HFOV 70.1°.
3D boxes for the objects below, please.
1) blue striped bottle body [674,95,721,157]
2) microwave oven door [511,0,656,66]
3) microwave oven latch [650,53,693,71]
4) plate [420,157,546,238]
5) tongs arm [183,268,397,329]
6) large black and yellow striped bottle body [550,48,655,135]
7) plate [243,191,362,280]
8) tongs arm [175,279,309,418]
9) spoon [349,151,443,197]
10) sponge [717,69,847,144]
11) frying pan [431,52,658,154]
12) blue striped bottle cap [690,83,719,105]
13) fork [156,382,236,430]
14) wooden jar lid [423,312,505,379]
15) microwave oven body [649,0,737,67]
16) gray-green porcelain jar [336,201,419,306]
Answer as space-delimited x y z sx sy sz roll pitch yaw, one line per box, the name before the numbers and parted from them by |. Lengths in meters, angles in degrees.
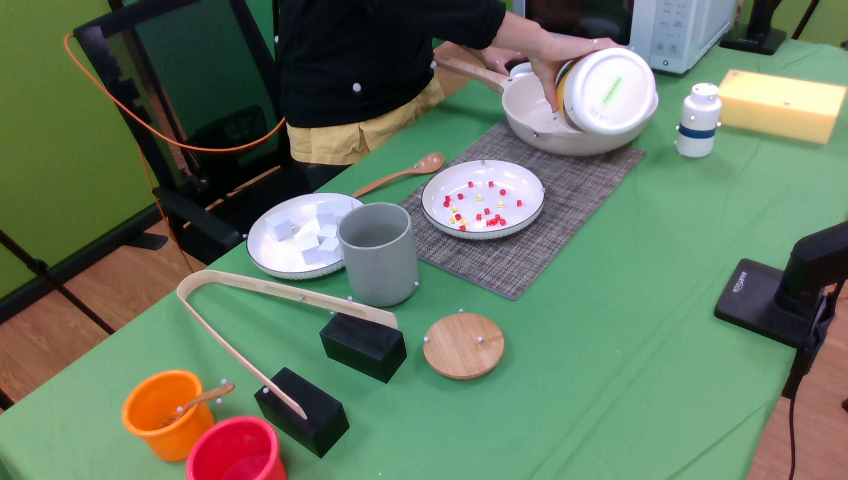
blue striped bottle body | 0.486 -0.213 1.072 0.063 0.121 0.063 -4 41 4
microwave oven door | 0.350 -0.539 1.349 0.353 0.245 0.039 24 50 31
microwave oven latch | 0.531 -0.386 1.301 0.078 0.029 0.030 26 51 33
plate | 0.099 -0.067 1.017 0.209 0.038 0.208 -4 40 4
tongs arm | -0.203 0.084 0.847 0.382 0.027 0.051 11 44 34
large black and yellow striped bottle body | 0.285 -0.244 1.006 0.131 0.131 0.183 -9 13 -2
plate | -0.187 -0.005 0.992 0.207 0.039 0.206 -4 40 4
tongs arm | -0.255 0.132 0.800 0.028 0.028 0.384 -41 40 -23
spoon | -0.051 -0.123 1.120 0.194 0.022 0.041 -22 58 -18
sponge | 0.663 -0.256 1.141 0.205 0.061 0.118 19 47 27
frying pan | 0.216 -0.302 1.223 0.484 0.103 0.308 29 50 24
blue striped bottle cap | 0.481 -0.251 1.038 0.044 0.021 0.044 -5 40 5
fork | -0.262 0.189 0.690 0.018 0.206 0.028 49 43 -7
wooden jar lid | 0.053 0.142 0.800 0.108 0.021 0.108 -5 39 4
microwave oven body | 0.475 -0.602 1.411 0.438 0.261 0.327 23 50 32
gray-green porcelain jar | -0.064 0.024 0.872 0.106 0.127 0.105 -4 41 4
